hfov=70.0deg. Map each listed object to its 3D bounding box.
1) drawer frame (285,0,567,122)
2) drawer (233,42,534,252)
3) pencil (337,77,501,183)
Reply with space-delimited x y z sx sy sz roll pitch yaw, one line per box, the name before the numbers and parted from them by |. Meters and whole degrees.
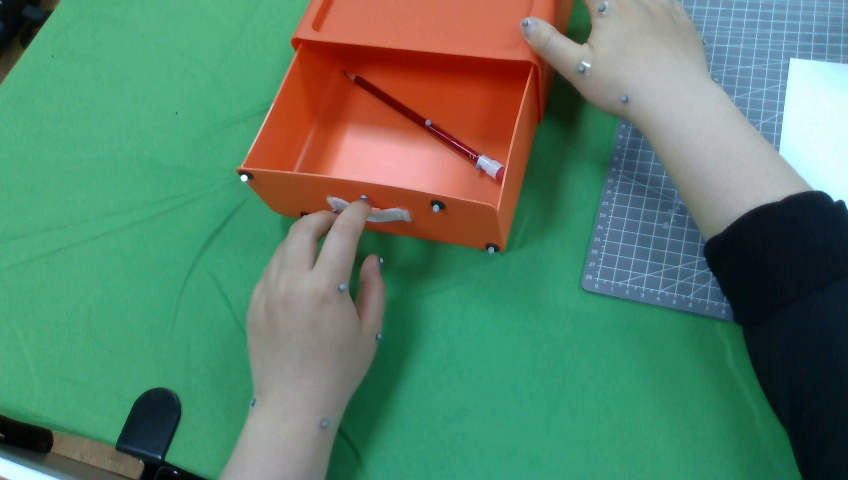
drawer frame | 0.017 -0.211 0.518 0.201 0.083 0.212 10 66 17
drawer | -0.014 -0.107 0.474 0.193 0.074 0.210 9 65 18
pencil | -0.009 -0.096 0.499 0.192 0.012 0.012 36 76 27
